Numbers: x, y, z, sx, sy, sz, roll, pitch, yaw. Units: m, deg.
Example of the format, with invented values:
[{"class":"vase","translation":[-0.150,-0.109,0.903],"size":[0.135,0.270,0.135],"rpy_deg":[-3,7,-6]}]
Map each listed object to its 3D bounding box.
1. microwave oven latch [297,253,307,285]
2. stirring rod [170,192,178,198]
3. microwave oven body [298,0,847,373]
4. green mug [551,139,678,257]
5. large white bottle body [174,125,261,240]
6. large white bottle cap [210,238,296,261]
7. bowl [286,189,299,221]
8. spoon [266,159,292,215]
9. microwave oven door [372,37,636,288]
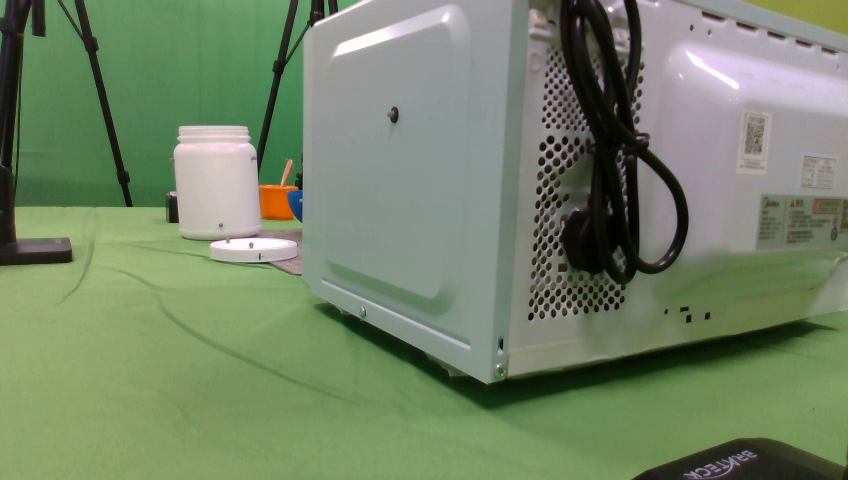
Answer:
[{"class":"microwave oven latch","translation":[-0.082,0.027,0.582],"size":[0.079,0.029,0.030],"rpy_deg":[-1,7,-33]},{"class":"stirring rod","translation":[-0.465,-0.098,1.283],"size":[0.014,0.006,0.177],"rpy_deg":[42,21,17]},{"class":"microwave oven body","translation":[0.151,-0.055,0.543],"size":[0.444,0.260,0.324],"rpy_deg":[-1,7,-33]},{"class":"green mug","translation":[0.178,-0.037,0.582],"size":[0.124,0.105,0.093],"rpy_deg":[1,0,43]},{"class":"large white bottle body","translation":[-0.349,-0.100,1.024],"size":[0.131,0.184,0.130],"rpy_deg":[-1,9,0]},{"class":"large white bottle cap","translation":[-0.236,0.012,0.839],"size":[0.115,0.018,0.115],"rpy_deg":[2,7,0]},{"class":"bowl","translation":[-0.179,-0.051,1.115],"size":[0.151,0.077,0.151],"rpy_deg":[3,8,0]},{"class":"spoon","translation":[-0.334,-0.127,1.424],"size":[0.041,0.193,0.022],"rpy_deg":[0,-38,7]},{"class":"microwave oven door","translation":[0.110,-0.080,0.686],"size":[0.358,0.243,0.039],"rpy_deg":[-2,9,-33]}]
